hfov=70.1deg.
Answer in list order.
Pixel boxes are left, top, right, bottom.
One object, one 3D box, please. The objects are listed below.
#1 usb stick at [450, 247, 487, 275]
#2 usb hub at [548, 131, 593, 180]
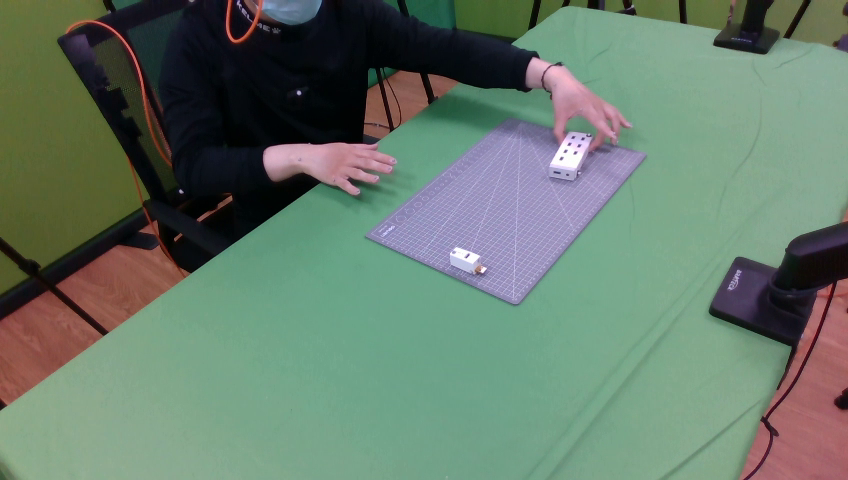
[{"bbox_3d":[0.069,0.033,0.912,0.059,0.027,0.021,24,48,28],"label":"usb stick"},{"bbox_3d":[0.269,-0.156,1.105,0.049,0.025,0.125,14,46,23],"label":"usb hub"}]
